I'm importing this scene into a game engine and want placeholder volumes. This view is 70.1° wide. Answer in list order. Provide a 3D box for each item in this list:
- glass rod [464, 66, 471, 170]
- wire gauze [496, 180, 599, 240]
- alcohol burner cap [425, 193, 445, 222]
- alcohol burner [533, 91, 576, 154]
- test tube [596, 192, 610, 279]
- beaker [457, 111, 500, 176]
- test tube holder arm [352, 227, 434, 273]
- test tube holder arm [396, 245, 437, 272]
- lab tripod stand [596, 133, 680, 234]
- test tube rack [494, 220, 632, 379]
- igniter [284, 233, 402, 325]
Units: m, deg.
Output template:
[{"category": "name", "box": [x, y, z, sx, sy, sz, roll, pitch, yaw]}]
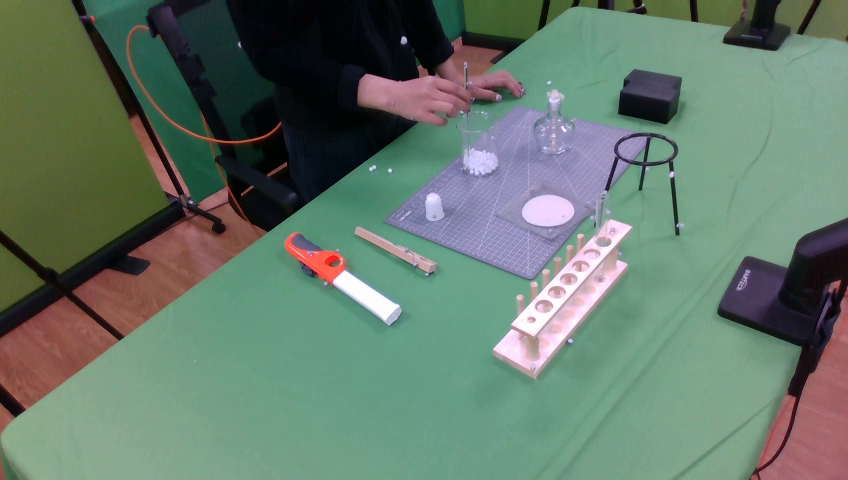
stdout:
[{"category": "glass rod", "box": [0.078, -0.212, 1.073, 0.008, 0.200, 0.008, -3, 36, 3]}, {"category": "wire gauze", "box": [0.206, -0.050, 1.012, 0.125, 0.011, 0.120, -34, 45, -26]}, {"category": "alcohol burner cap", "box": [0.017, -0.058, 1.030, 0.034, 0.048, 0.033, -6, 40, 5]}, {"category": "alcohol burner", "box": [0.243, -0.222, 1.124, 0.078, 0.119, 0.077, -4, 39, 4]}, {"category": "test tube", "box": [0.240, -0.002, 0.814, 0.017, 0.151, 0.017, -7, 42, 7]}, {"category": "beaker", "box": [0.104, -0.175, 1.108, 0.073, 0.101, 0.084, 16, 46, 27]}, {"category": "test tube holder arm", "box": [-0.053, 0.014, 0.978, 0.177, 0.015, 0.013, 25, 16, 34]}, {"category": "test tube holder arm", "box": [-0.016, 0.029, 0.957, 0.087, 0.015, 0.010, 25, 16, 35]}, {"category": "lab tripod stand", "box": [0.338, -0.091, 0.940, 0.148, 0.132, 0.147, -7, 39, 6]}, {"category": "test tube rack", "box": [0.191, 0.068, 0.818, 0.066, 0.085, 0.243, 25, 51, 35]}, {"category": "igniter", "box": [-0.136, 0.054, 0.942, 0.274, 0.025, 0.057, 30, 63, 37]}]
